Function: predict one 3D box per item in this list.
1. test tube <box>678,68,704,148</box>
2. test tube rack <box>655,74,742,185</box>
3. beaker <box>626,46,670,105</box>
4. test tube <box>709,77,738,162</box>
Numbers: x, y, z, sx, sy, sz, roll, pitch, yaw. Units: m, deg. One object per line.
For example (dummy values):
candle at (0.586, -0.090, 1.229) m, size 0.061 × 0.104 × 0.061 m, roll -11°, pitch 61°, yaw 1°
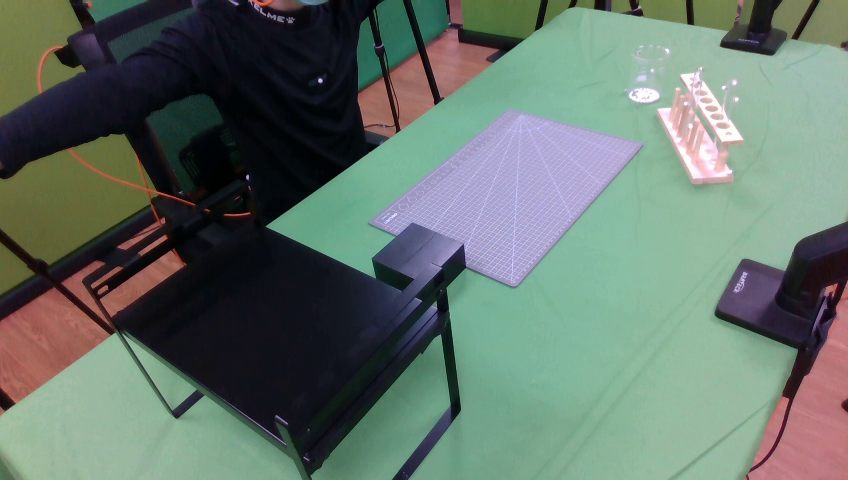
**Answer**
test tube at (0.465, -0.228, 1.054) m, size 0.017 × 0.151 × 0.017 m, roll -3°, pitch 41°, yaw 3°
test tube rack at (0.488, -0.205, 1.093) m, size 0.067 × 0.085 × 0.241 m, roll -3°, pitch 40°, yaw 5°
beaker at (0.457, -0.336, 1.240) m, size 0.084 × 0.101 × 0.073 m, roll -12°, pitch 41°, yaw -6°
test tube at (0.498, -0.198, 1.007) m, size 0.017 × 0.151 × 0.017 m, roll -3°, pitch 37°, yaw 3°
